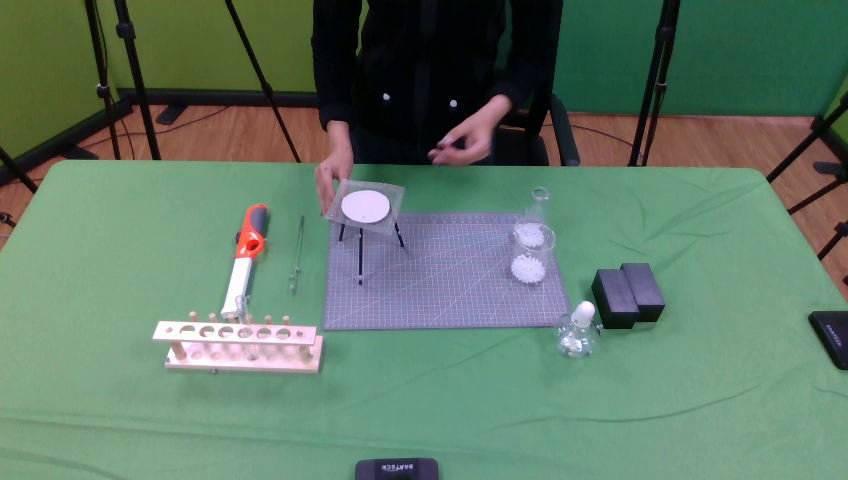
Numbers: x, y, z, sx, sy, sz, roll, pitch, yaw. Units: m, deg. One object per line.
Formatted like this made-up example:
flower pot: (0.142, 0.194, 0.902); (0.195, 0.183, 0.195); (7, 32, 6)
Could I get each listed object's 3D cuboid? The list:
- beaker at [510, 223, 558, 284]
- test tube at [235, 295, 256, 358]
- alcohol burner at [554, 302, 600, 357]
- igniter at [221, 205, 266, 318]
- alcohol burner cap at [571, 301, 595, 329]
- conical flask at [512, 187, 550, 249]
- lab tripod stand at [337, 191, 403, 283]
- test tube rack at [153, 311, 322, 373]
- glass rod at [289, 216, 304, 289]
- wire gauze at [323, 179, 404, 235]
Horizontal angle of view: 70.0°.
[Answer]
beaker: (0.199, 0.027, 1.131); (0.083, 0.101, 0.074); (26, 50, 21)
test tube: (-0.274, 0.136, 0.933); (0.017, 0.151, 0.017); (4, 45, -4)
alcohol burner: (0.260, 0.143, 1.018); (0.078, 0.119, 0.077); (3, 45, -3)
igniter: (-0.337, 0.030, 1.140); (0.057, 0.025, 0.274); (-6, 46, 3)
alcohol burner cap: (0.262, 0.120, 0.991); (0.034, 0.048, 0.033); (2, 52, -2)
conical flask: (0.217, -0.048, 1.190); (0.075, 0.122, 0.075); (2, 46, -2)
lab tripod stand: (-0.106, -0.016, 1.125); (0.148, 0.132, 0.147); (3, 44, -2)
test tube rack: (-0.293, 0.160, 0.978); (0.242, 0.085, 0.066); (3, 46, -2)
glass rod: (-0.246, 0.020, 1.171); (0.008, 0.008, 0.198); (1, 43, -3)
wire gauze: (-0.106, -0.064, 1.078); (0.125, 0.011, 0.121); (11, 45, 5)
